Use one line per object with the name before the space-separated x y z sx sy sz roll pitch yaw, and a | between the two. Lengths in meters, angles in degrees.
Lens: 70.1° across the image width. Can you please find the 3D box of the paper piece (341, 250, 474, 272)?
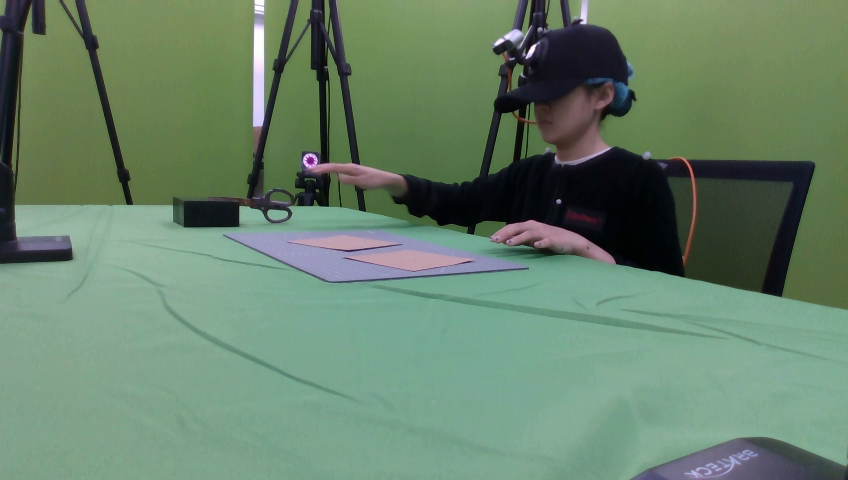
paper piece | -0.023 0.027 0.848 0.135 0.004 0.136 8 9 39

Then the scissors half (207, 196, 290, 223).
scissors half | -0.356 -0.067 1.233 0.176 0.040 0.013 14 8 -35

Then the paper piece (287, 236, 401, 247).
paper piece | -0.130 0.004 0.986 0.137 0.008 0.137 7 4 35

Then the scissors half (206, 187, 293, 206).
scissors half | -0.352 -0.086 1.228 0.176 0.040 0.012 -6 24 -31
